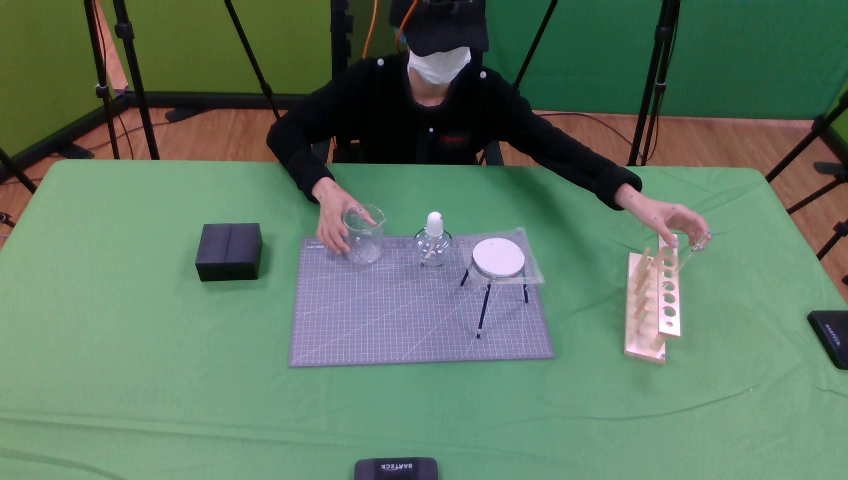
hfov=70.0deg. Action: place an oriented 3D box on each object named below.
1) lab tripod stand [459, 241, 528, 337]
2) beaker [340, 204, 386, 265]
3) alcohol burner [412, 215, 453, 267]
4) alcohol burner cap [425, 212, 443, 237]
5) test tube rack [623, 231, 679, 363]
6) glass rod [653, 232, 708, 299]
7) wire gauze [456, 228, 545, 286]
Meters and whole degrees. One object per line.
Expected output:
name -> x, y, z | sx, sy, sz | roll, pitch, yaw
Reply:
lab tripod stand -> 0.122, 0.075, 1.054 | 0.148, 0.132, 0.147 | 3, 44, -3
beaker -> -0.114, -0.008, 1.140 | 0.084, 0.101, 0.073 | -2, 46, -7
alcohol burner -> 0.017, -0.006, 1.139 | 0.078, 0.119, 0.077 | 2, 48, -2
alcohol burner cap -> 0.019, -0.032, 1.114 | 0.034, 0.048, 0.033 | 0, 48, 0
test tube rack -> 0.410, 0.094, 1.096 | 0.066, 0.085, 0.241 | 13, 46, 9
glass rod -> 0.441, 0.049, 1.050 | 0.008, 0.200, 0.008 | 4, 52, -5
wire gauze -> 0.126, 0.029, 1.006 | 0.125, 0.011, 0.120 | -4, 46, -10
